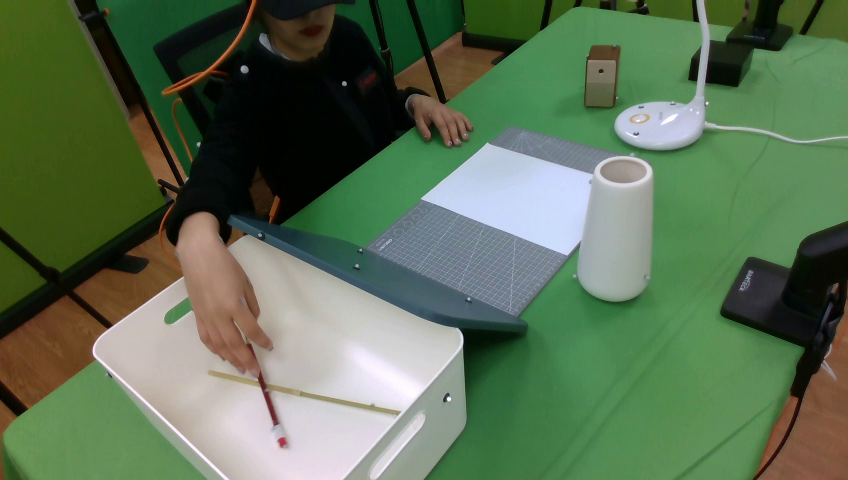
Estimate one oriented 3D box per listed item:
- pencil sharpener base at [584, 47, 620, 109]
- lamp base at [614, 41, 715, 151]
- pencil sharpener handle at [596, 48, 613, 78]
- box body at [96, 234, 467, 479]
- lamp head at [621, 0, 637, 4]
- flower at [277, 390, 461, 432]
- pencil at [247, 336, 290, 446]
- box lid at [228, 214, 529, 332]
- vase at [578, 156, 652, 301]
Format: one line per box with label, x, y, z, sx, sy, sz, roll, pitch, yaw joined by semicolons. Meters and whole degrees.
pencil sharpener base;0.368;-0.336;1.248;0.061;0.107;0.076;6;42;19
lamp base;0.449;-0.277;1.106;0.179;0.181;0.160;1;41;9
pencil sharpener handle;0.383;-0.378;1.276;0.036;0.068;0.030;3;41;21
box body;-0.155;0.169;0.707;0.361;0.161;0.255;23;49;33
lamp head;0.319;-0.453;0.962;0.113;0.123;0.112;20;33;-13
flower;-0.122;0.203;0.771;0.360;0.038;0.044;2;77;22
pencil;-0.208;0.191;0.792;0.012;0.012;0.192;-23;44;-15
box lid;-0.061;0.045;0.812;0.368;0.265;0.015;22;93;32
vase;0.261;-0.011;0.812;0.098;0.201;0.097;-4;40;4
